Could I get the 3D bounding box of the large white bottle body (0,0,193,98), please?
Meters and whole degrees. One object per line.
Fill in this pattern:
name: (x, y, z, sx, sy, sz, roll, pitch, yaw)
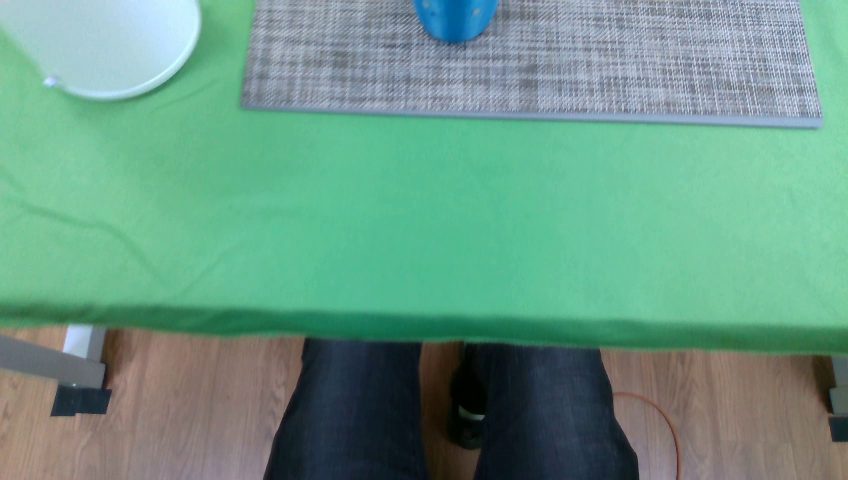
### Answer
large white bottle body: (-0.247, -0.196, 0.399, 0.130, 0.185, 0.130, 0, 71, 0)
